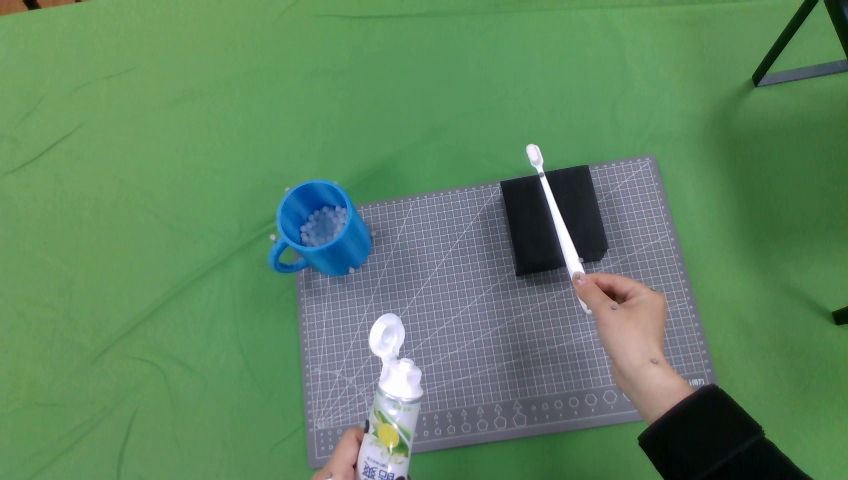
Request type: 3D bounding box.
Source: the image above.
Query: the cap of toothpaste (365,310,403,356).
[{"bbox_3d":[-0.029,0.072,0.466,0.011,0.038,0.037,11,71,46],"label":"cap of toothpaste"}]

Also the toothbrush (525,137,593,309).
[{"bbox_3d":[0.132,-0.020,0.596,0.014,0.017,0.181,-19,78,12],"label":"toothbrush"}]

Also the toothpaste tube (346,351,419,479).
[{"bbox_3d":[-0.035,0.163,0.470,0.055,0.034,0.165,16,101,22],"label":"toothpaste tube"}]

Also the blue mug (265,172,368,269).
[{"bbox_3d":[-0.126,-0.010,0.685,0.116,0.106,0.082,-36,73,-5],"label":"blue mug"}]
